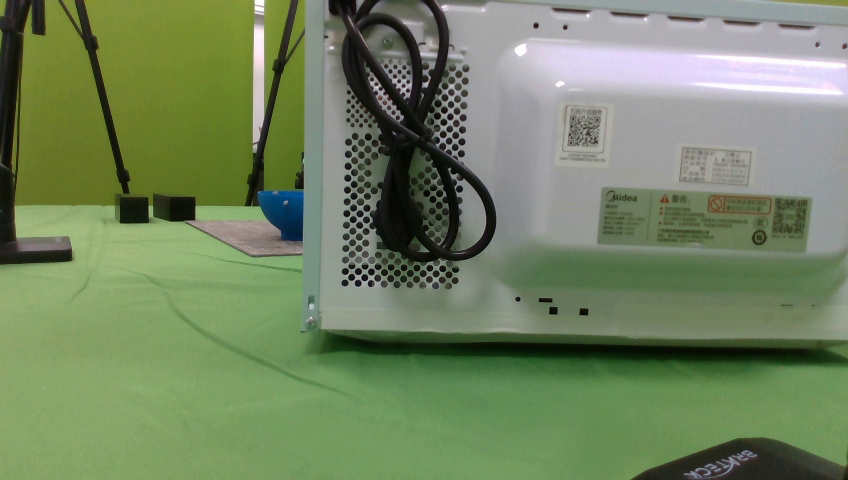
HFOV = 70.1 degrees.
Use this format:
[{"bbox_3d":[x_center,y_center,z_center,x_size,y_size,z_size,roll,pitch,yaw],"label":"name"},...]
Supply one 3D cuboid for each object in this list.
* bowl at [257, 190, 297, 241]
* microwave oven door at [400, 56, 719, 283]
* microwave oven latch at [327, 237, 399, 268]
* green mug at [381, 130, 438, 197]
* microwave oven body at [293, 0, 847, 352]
[{"bbox_3d":[-0.206,-0.041,1.026,0.151,0.077,0.151,3,8,0],"label":"bowl"},{"bbox_3d":[0.155,-0.077,0.698,0.356,0.243,0.039,2,8,-5],"label":"microwave oven door"},{"bbox_3d":[-0.069,0.014,0.694,0.079,0.029,0.030,3,7,-2],"label":"microwave oven latch"},{"bbox_3d":[-0.025,-0.123,0.992,0.093,0.105,0.125,0,5,-7],"label":"green mug"},{"bbox_3d":[0.122,-0.055,0.550,0.442,0.260,0.325,3,7,-5],"label":"microwave oven body"}]
